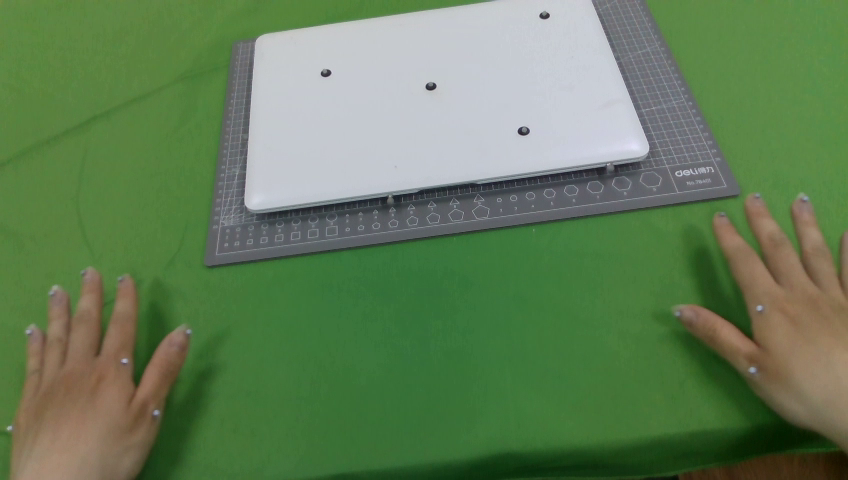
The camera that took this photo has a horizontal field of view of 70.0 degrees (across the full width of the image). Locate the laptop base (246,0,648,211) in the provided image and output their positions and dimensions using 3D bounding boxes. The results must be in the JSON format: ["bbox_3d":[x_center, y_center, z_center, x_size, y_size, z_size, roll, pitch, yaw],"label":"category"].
[{"bbox_3d":[0.009,-0.142,0.586,0.354,0.023,0.233,-8,59,1],"label":"laptop base"}]

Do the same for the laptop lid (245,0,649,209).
[{"bbox_3d":[0.008,-0.146,0.575,0.357,0.013,0.239,-6,58,2],"label":"laptop lid"}]
